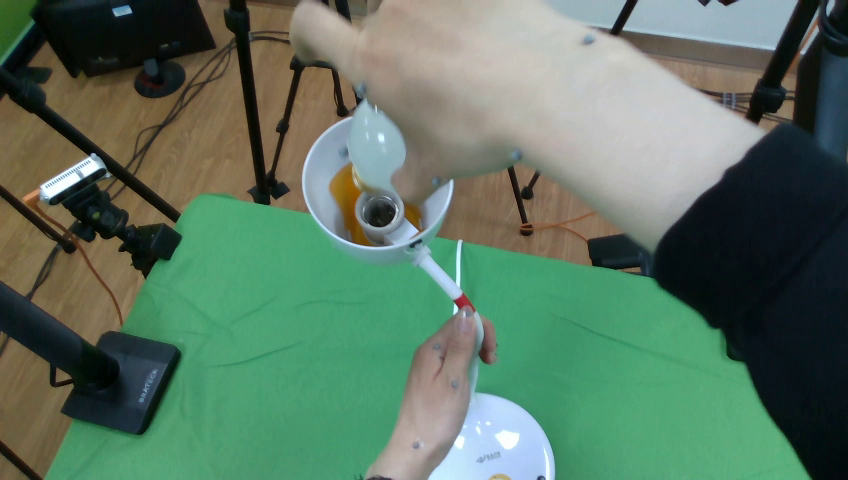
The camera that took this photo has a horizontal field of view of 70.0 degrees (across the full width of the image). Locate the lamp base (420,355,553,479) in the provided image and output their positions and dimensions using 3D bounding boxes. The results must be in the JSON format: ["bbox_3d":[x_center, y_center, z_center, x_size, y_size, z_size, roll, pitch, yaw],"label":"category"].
[{"bbox_3d":[0.066,0.210,0.670,0.161,0.182,0.177,-24,59,-12],"label":"lamp base"}]

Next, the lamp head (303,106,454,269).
[{"bbox_3d":[-0.031,-0.028,0.493,0.112,0.124,0.111,-1,67,2],"label":"lamp head"}]

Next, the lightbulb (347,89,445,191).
[{"bbox_3d":[-0.024,-0.056,0.391,0.060,0.107,0.059,4,77,-18],"label":"lightbulb"}]
